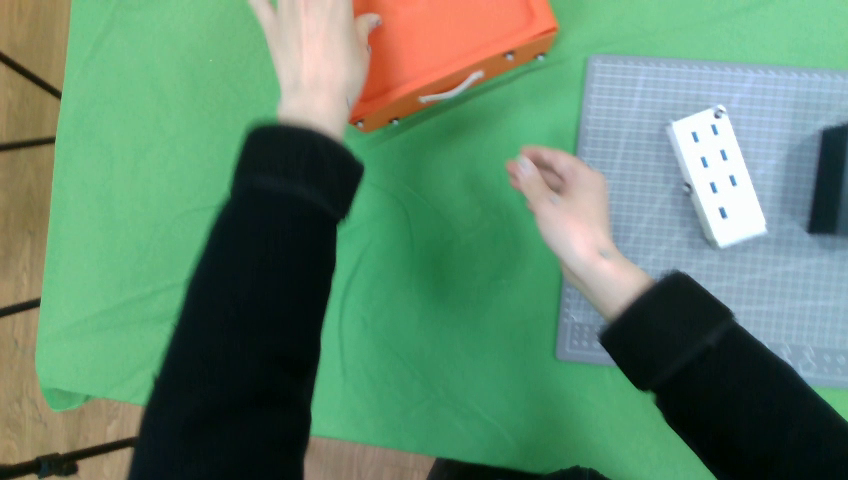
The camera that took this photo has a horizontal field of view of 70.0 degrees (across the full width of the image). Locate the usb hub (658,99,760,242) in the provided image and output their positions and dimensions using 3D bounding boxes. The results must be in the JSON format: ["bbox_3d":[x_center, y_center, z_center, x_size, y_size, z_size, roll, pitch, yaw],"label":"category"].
[{"bbox_3d":[0.267,-0.064,0.568,0.049,0.025,0.125,-21,91,5],"label":"usb hub"}]

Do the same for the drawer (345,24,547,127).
[{"bbox_3d":[-0.017,-0.239,0.561,0.194,0.073,0.211,-23,89,7],"label":"drawer"}]

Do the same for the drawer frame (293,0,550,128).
[{"bbox_3d":[-0.020,-0.243,0.559,0.201,0.083,0.213,-24,89,6],"label":"drawer frame"}]
